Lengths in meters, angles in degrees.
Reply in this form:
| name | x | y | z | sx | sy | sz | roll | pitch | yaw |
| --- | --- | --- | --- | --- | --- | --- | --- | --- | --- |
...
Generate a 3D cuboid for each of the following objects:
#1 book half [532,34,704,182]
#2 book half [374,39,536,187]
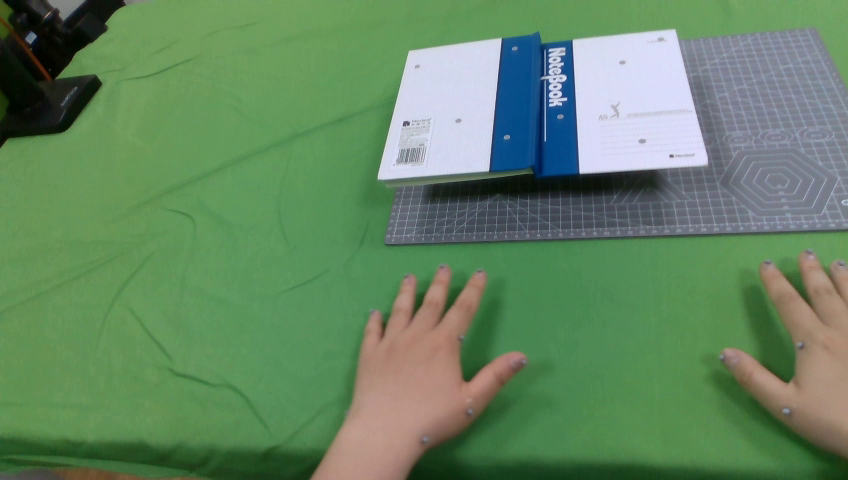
| name | x | y | z | sx | sy | sz | roll | pitch | yaw |
| --- | --- | --- | --- | --- | --- | --- | --- | --- | --- |
| book half | 0.178 | -0.133 | 0.586 | 0.143 | 0.007 | 0.208 | -2 | 49 | 13 |
| book half | 0.038 | -0.132 | 0.613 | 0.148 | 0.016 | 0.208 | -3 | 50 | 14 |
